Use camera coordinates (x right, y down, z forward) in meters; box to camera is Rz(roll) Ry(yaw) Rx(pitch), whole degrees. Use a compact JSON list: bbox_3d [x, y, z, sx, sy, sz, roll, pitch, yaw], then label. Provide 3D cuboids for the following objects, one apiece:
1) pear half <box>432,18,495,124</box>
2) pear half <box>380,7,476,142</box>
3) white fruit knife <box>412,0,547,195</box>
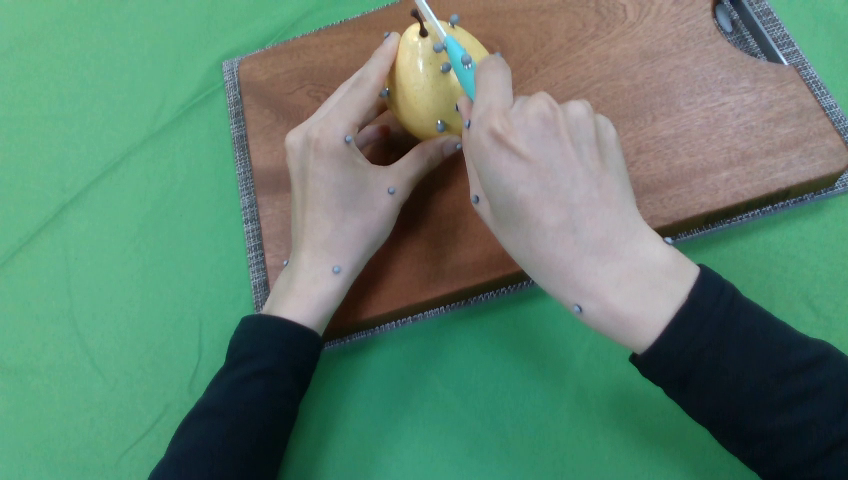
[{"bbox_3d":[0.030,-0.123,0.421,0.031,0.089,0.069,-31,56,-2],"label":"pear half"},{"bbox_3d":[-0.005,-0.111,0.412,0.056,0.111,0.075,-31,57,0],"label":"pear half"},{"bbox_3d":[0.017,-0.113,0.368,0.016,0.027,0.205,-28,65,-1],"label":"white fruit knife"}]
